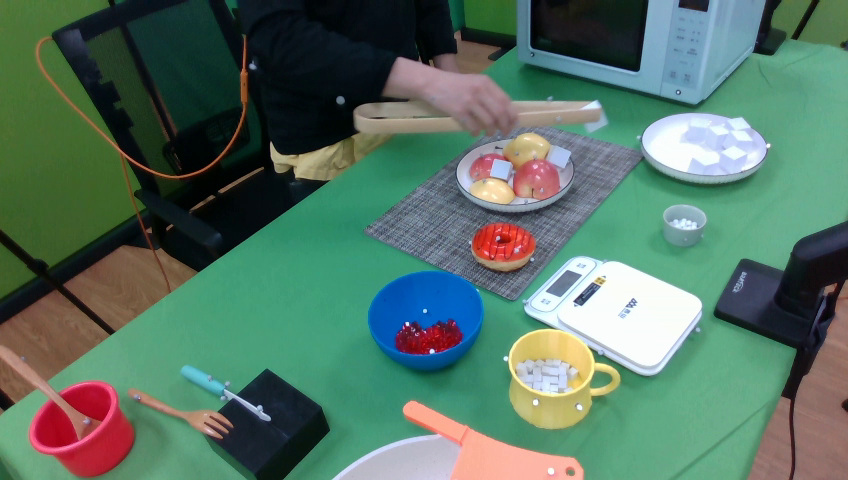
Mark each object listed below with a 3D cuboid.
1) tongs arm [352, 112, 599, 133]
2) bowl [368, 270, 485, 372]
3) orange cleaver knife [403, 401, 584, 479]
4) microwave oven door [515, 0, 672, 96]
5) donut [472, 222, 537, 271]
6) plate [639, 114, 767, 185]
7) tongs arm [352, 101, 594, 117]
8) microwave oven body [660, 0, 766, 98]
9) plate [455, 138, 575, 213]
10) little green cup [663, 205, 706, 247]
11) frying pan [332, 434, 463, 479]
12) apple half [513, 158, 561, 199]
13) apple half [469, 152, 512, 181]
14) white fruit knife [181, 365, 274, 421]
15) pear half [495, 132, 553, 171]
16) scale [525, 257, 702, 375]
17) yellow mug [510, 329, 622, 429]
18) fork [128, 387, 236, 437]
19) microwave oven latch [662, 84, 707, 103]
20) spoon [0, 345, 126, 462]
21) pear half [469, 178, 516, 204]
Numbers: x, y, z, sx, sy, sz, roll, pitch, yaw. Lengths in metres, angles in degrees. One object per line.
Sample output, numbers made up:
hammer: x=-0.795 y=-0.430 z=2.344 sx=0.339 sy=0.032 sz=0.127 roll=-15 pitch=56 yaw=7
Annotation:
tongs arm: x=0.082 y=-0.186 z=0.946 sx=0.388 sy=0.028 sz=0.028 roll=-1 pitch=45 yaw=-3
bowl: x=0.007 y=0.119 z=0.791 sx=0.151 sy=0.077 sz=0.150 roll=-5 pitch=39 yaw=4
orange cleaver knife: x=0.062 y=0.222 z=0.609 sx=0.210 sy=0.012 sz=0.077 roll=15 pitch=49 yaw=25
microwave oven door: x=0.343 y=-0.454 z=1.259 sx=0.353 sy=0.245 sz=0.039 roll=26 pitch=51 yaw=33
donut: x=0.123 y=0.009 z=0.923 sx=0.099 sy=0.048 sz=0.098 roll=-3 pitch=38 yaw=3
plate: x=0.489 y=-0.157 z=1.074 sx=0.207 sy=0.039 sz=0.206 roll=-4 pitch=40 yaw=4
tongs arm: x=0.081 y=-0.201 z=0.963 sx=0.385 sy=0.026 sz=0.050 roll=1 pitch=42 yaw=0
microwave oven body: x=0.472 y=-0.513 z=1.317 sx=0.438 sy=0.261 sz=0.327 roll=26 pitch=51 yaw=34
plate: x=0.159 y=-0.111 z=1.063 sx=0.209 sy=0.038 sz=0.208 roll=-4 pitch=40 yaw=4
little green cup: x=0.396 y=-0.020 z=0.926 sx=0.061 sy=0.039 sz=0.061 roll=-4 pitch=40 yaw=4
frying pan: x=-0.089 y=0.306 z=0.564 sx=0.487 sy=0.103 sz=0.306 roll=10 pitch=41 yaw=7
apple half: x=0.193 y=-0.111 z=1.031 sx=0.080 sy=0.053 sz=0.075 roll=11 pitch=41 yaw=26
apple half: x=0.120 y=-0.139 z=1.088 sx=0.081 sy=0.033 sz=0.081 roll=-1 pitch=45 yaw=2
white fruit knife: x=-0.245 y=0.188 z=0.747 sx=0.205 sy=0.027 sz=0.016 roll=9 pitch=42 yaw=40
pear half: x=0.174 y=-0.168 z=1.095 sx=0.109 sy=0.056 sz=0.076 roll=17 pitch=54 yaw=29
scale: x=0.254 y=0.091 z=0.821 sx=0.199 sy=0.032 sz=0.149 roll=28 pitch=51 yaw=35
yellow mug: x=0.168 y=0.164 z=0.721 sx=0.130 sy=0.064 sz=0.099 roll=0 pitch=40 yaw=8
fork: x=-0.305 y=0.207 z=0.744 sx=0.206 sy=0.019 sz=0.028 roll=3 pitch=41 yaw=36
microwave oven latch: x=0.517 y=-0.296 z=1.204 sx=0.078 sy=0.029 sz=0.030 roll=27 pitch=52 yaw=35
spoon: x=-0.434 y=0.192 z=0.720 sx=0.194 sy=0.021 sz=0.042 roll=47 pitch=53 yaw=-6
pear half: x=0.115 y=-0.090 z=1.035 sx=0.087 sy=0.031 sz=0.071 roll=28 pitch=38 yaw=32
